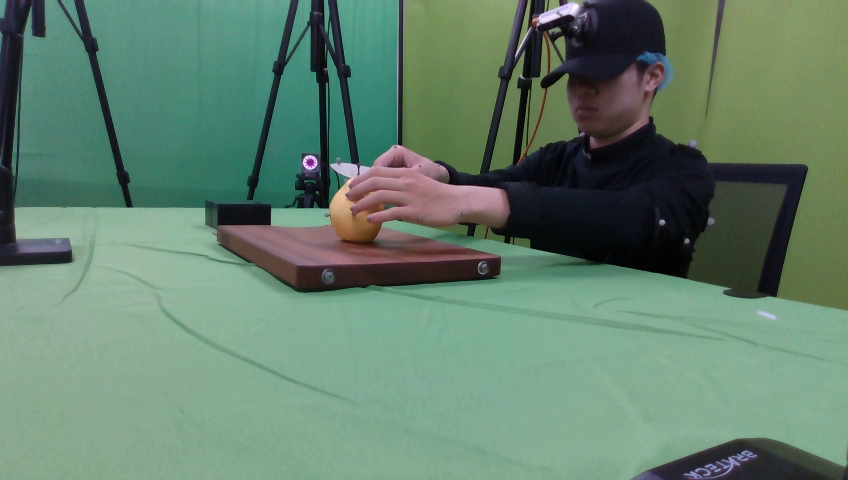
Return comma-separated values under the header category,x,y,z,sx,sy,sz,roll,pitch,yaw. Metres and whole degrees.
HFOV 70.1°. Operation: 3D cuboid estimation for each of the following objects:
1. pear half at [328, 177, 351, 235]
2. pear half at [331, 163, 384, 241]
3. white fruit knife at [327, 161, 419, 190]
category,x,y,z,sx,sy,sz,roll,pitch,yaw
pear half,-0.112,-0.047,0.864,0.031,0.088,0.071,8,12,39
pear half,-0.086,-0.052,0.839,0.055,0.110,0.077,4,11,40
white fruit knife,-0.070,-0.098,0.891,0.016,0.027,0.208,-4,-4,33
